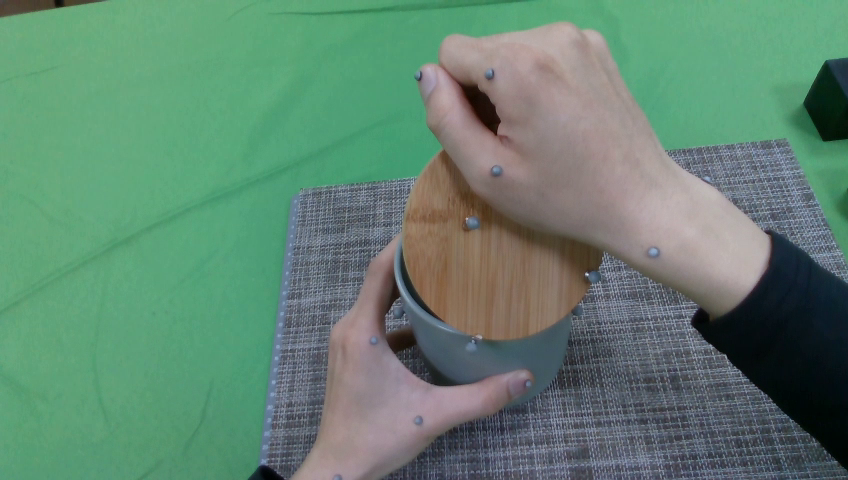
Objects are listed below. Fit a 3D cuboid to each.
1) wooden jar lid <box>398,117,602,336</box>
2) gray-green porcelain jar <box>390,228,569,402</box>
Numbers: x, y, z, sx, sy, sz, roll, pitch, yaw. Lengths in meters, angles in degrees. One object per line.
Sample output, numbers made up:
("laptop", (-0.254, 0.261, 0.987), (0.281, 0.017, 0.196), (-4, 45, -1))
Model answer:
("wooden jar lid", (0.038, -0.006, 0.305), (0.108, 0.109, 0.020), (-30, 18, -11))
("gray-green porcelain jar", (0.040, 0.040, 0.393), (0.106, 0.128, 0.105), (-4, 55, 6))
